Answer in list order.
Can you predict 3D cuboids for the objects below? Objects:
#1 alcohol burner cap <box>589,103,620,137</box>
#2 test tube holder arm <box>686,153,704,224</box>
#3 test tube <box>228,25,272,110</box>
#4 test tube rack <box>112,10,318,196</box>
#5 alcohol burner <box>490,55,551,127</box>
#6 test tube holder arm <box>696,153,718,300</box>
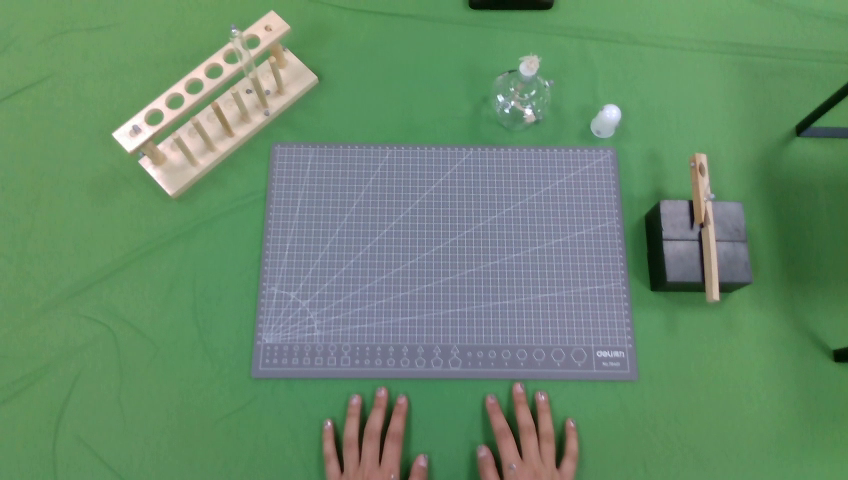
[{"bbox_3d":[0.237,-0.158,0.787,0.034,0.048,0.033,1,72,-1],"label":"alcohol burner cap"},{"bbox_3d":[0.324,-0.062,0.722,0.010,0.015,0.087,3,74,-8],"label":"test tube holder arm"},{"bbox_3d":[-0.204,-0.200,0.717,0.017,0.151,0.017,0,70,-1],"label":"test tube"},{"bbox_3d":[-0.250,-0.169,0.753,0.242,0.085,0.066,-43,78,-13],"label":"test tube rack"},{"bbox_3d":[0.123,-0.192,0.757,0.078,0.119,0.077,1,72,-2],"label":"alcohol burner"},{"bbox_3d":[0.329,-0.018,0.710,0.013,0.015,0.177,2,74,-9],"label":"test tube holder arm"}]
